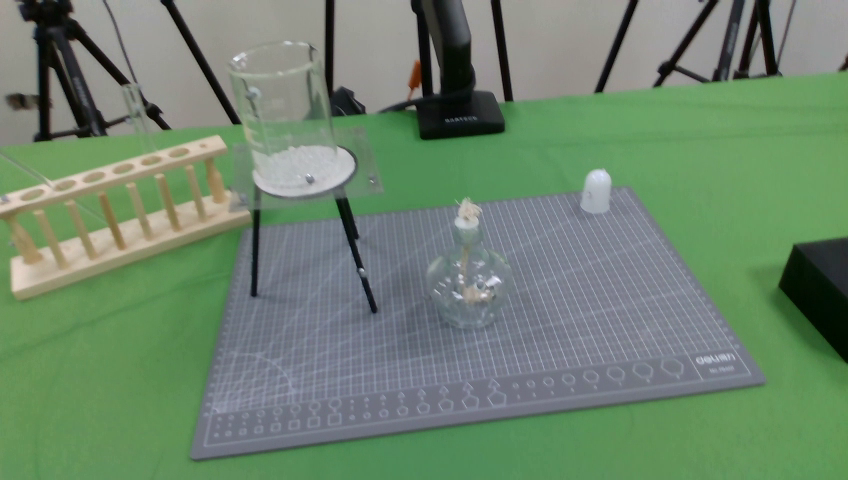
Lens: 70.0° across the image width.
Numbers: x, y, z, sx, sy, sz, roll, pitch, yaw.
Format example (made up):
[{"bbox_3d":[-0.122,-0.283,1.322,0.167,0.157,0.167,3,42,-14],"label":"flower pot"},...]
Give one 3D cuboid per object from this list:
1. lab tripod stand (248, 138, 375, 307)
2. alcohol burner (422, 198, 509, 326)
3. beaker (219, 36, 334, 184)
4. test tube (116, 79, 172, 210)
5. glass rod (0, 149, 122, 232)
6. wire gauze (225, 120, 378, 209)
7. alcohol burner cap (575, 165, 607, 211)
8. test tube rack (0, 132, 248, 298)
[{"bbox_3d":[-0.105,-0.015,0.563,0.148,0.133,0.147,-3,40,3],"label":"lab tripod stand"},{"bbox_3d":[0.036,0.016,0.528,0.078,0.120,0.077,-3,36,2],"label":"alcohol burner"},{"bbox_3d":[-0.117,-0.103,0.491,0.083,0.101,0.073,13,41,22],"label":"beaker"},{"bbox_3d":[-0.298,-0.097,0.649,0.017,0.151,0.017,-2,35,2],"label":"test tube"},{"bbox_3d":[-0.385,-0.062,0.600,0.008,0.202,0.008,-19,48,23],"label":"glass rod"},{"bbox_3d":[-0.108,-0.066,0.523,0.125,0.011,0.120,-12,36,-6],"label":"wire gauze"},{"bbox_3d":[0.186,-0.060,0.672,0.034,0.048,0.033,-2,38,2],"label":"alcohol burner cap"},{"bbox_3d":[-0.325,-0.033,0.649,0.243,0.086,0.066,-22,41,-22],"label":"test tube rack"}]
